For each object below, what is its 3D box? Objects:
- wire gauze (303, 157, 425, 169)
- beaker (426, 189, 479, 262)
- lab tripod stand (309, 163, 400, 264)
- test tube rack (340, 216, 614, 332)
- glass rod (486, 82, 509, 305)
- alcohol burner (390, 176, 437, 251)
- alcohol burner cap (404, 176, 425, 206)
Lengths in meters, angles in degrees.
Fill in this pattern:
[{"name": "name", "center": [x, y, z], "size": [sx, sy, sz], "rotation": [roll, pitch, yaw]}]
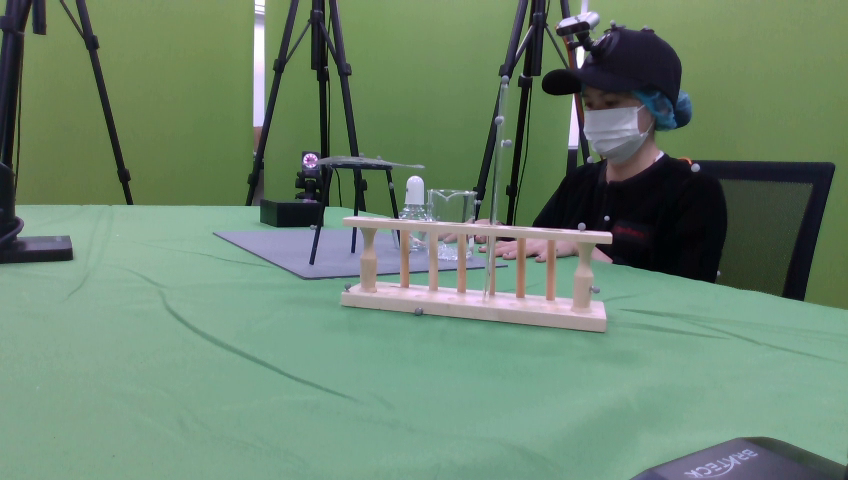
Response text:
[{"name": "wire gauze", "center": [-0.082, -0.102, 0.799], "size": [0.126, 0.011, 0.121], "rotation": [-1, 7, -30]}, {"name": "beaker", "center": [0.039, -0.022, 0.871], "size": [0.074, 0.100, 0.084], "rotation": [4, 8, 12]}, {"name": "lab tripod stand", "center": [-0.091, -0.037, 0.813], "size": [0.148, 0.131, 0.148], "rotation": [1, 6, 0]}, {"name": "test tube rack", "center": [0.048, 0.026, 0.568], "size": [0.242, 0.085, 0.067], "rotation": [4, 8, 13]}, {"name": "glass rod", "center": [0.063, -0.035, 0.528], "size": [0.008, 0.199, 0.008], "rotation": [3, 13, 0]}, {"name": "alcohol burner", "center": [-0.016, -0.042, 0.955], "size": [0.078, 0.119, 0.078], "rotation": [4, 5, 0]}, {"name": "alcohol burner cap", "center": [-0.015, -0.077, 0.951], "size": [0.034, 0.048, 0.034], "rotation": [2, 4, 0]}]
